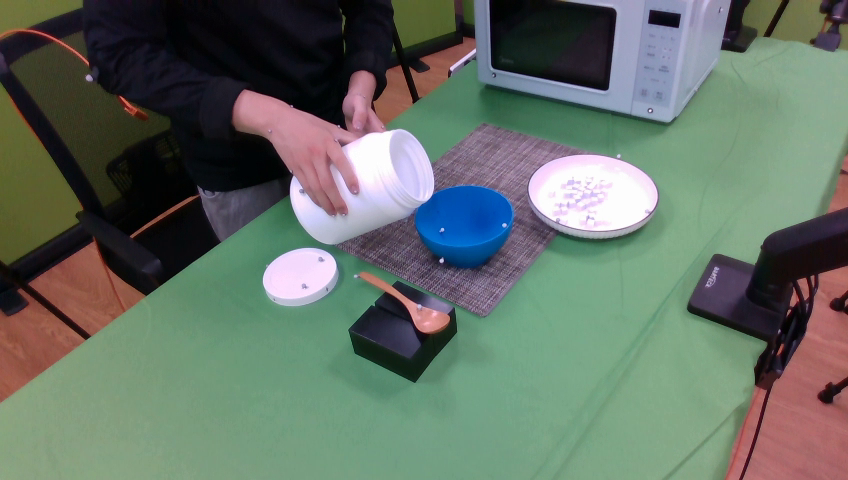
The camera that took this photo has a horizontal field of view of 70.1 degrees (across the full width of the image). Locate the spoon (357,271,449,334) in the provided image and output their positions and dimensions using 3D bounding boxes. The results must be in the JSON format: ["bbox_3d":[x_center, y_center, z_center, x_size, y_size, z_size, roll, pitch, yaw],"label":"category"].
[{"bbox_3d":[-0.034,0.078,0.812,0.042,0.022,0.192,-34,42,-24],"label":"spoon"}]

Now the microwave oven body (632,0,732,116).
[{"bbox_3d":[0.377,-0.462,1.267,0.438,0.261,0.327,21,48,30],"label":"microwave oven body"}]

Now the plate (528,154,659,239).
[{"bbox_3d":[0.274,-0.069,0.993,0.209,0.038,0.208,-2,42,2],"label":"plate"}]

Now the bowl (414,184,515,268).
[{"bbox_3d":[0.063,-0.010,0.922,0.151,0.077,0.150,-4,40,4],"label":"bowl"}]

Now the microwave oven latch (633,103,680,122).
[{"bbox_3d":[0.443,-0.249,1.157,0.078,0.029,0.030,21,48,30],"label":"microwave oven latch"}]

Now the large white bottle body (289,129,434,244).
[{"bbox_3d":[-0.090,-0.079,0.884,0.183,0.131,0.130,-19,33,30],"label":"large white bottle body"}]

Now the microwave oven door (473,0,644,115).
[{"bbox_3d":[0.257,-0.396,1.199,0.353,0.245,0.039,21,48,29],"label":"microwave oven door"}]

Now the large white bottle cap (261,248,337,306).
[{"bbox_3d":[-0.193,0.056,0.934,0.115,0.018,0.114,-4,41,4],"label":"large white bottle cap"}]
